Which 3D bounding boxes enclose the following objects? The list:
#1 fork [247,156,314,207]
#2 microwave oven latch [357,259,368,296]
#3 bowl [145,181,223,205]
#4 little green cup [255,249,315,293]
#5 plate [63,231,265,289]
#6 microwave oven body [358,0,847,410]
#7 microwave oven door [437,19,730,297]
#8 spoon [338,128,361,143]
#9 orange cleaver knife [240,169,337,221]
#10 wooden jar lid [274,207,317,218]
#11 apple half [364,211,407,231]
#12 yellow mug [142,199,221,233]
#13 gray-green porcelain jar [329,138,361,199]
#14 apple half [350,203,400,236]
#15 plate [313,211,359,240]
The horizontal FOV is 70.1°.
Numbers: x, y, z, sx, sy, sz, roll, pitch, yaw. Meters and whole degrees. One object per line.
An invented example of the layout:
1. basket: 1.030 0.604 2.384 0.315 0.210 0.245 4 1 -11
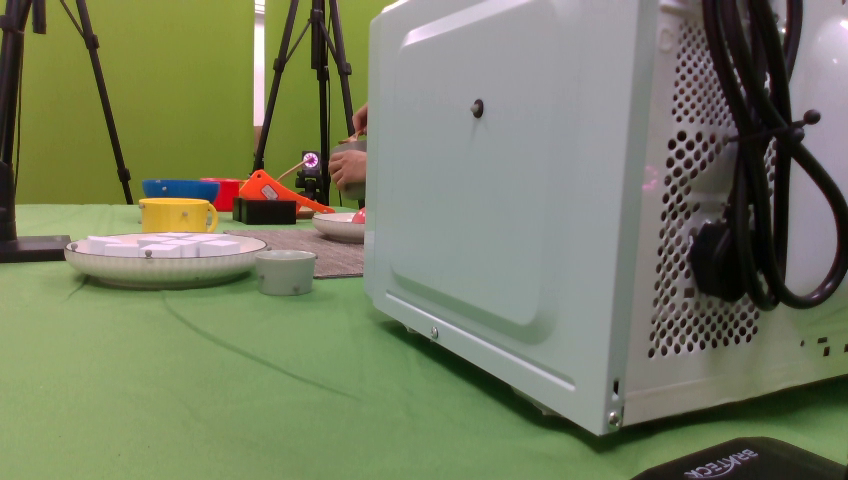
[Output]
1. fork: -0.360 -0.147 1.523 0.207 0.018 0.028 -43 15 -7
2. microwave oven latch: -0.019 0.031 0.528 0.079 0.029 0.030 -1 7 -25
3. bowl: -0.499 -0.081 1.261 0.151 0.077 0.151 2 8 0
4. little green cup: -0.144 0.032 0.627 0.061 0.038 0.061 2 5 0
5. plate: -0.288 0.021 0.687 0.208 0.039 0.207 2 8 0
6. microwave oven body: 0.210 -0.051 0.471 0.444 0.260 0.324 -1 7 -28
7. microwave oven door: 0.180 -0.076 0.618 0.358 0.243 0.039 -2 9 -28
8. spoon: -0.154 -0.270 1.495 0.041 0.021 0.194 2 28 24
9. orange cleaver knife: -0.287 -0.081 1.298 0.212 0.077 0.012 25 -3 -31
10. wooden jar lid: -0.303 -0.065 1.409 0.108 0.020 0.108 3 9 0
11. apple half: -0.068 -0.037 1.104 0.081 0.033 0.081 -1 9 0
12. yellow mug: -0.373 -0.030 0.948 0.099 0.064 0.131 6 7 30
13. gray-green porcelain jar: -0.158 -0.168 1.447 0.106 0.126 0.106 -16 -1 0
14. apple half: -0.081 -0.036 1.024 0.081 0.053 0.074 -2 11 -34
15. plate: -0.091 -0.026 1.063 0.209 0.038 0.209 2 7 0
